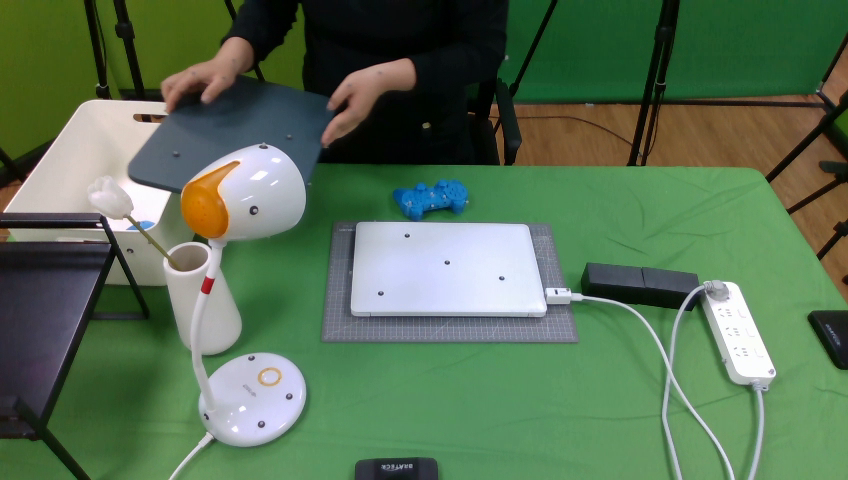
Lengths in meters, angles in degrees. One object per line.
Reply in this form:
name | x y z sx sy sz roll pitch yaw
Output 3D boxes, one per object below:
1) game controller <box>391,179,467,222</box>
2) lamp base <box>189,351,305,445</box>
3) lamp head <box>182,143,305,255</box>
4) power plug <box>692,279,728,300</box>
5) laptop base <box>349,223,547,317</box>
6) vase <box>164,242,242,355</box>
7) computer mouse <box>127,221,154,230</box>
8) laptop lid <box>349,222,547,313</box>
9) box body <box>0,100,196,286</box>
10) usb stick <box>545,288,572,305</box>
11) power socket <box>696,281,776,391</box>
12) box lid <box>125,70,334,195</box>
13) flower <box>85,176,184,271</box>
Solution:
game controller | 0.016 -0.093 1.273 0.155 0.052 0.096 -11 52 -14
lamp base | -0.268 0.196 0.876 0.160 0.181 0.179 26 52 20
lamp head | -0.216 -0.044 0.697 0.112 0.113 0.123 23 31 17
power plug | 0.522 0.091 1.116 0.072 0.053 0.035 10 47 8
laptop base | 0.041 0.055 1.149 0.355 0.023 0.234 1 42 -4
vase | -0.349 0.095 0.954 0.098 0.201 0.097 3 47 -3
computer mouse | -0.537 0.009 1.127 0.062 0.041 0.117 31 55 21
laptop lid | 0.041 0.045 1.143 0.357 0.013 0.240 2 44 -3
box body | -0.560 -0.092 1.145 0.254 0.161 0.361 3 46 -2
usb stick | 0.236 0.102 1.101 0.059 0.027 0.021 -2 47 2
power socket | 0.550 0.160 1.078 0.072 0.033 0.225 2 46 -1
box lid | -0.315 -0.181 1.049 0.263 0.015 0.369 13 41 -5
flower | -0.365 0.038 0.894 0.038 0.364 0.044 -6 53 14
